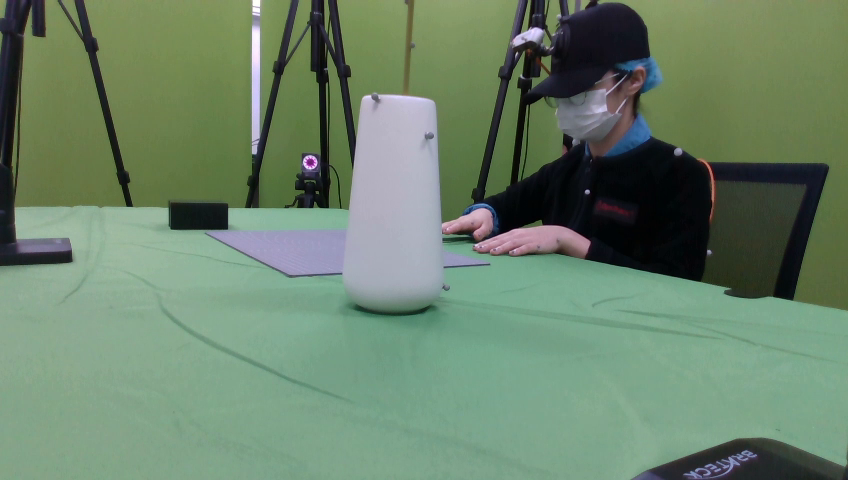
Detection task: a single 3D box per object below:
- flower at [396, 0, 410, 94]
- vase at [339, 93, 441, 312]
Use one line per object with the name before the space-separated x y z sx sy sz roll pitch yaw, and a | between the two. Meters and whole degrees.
flower | -0.023 -0.113 0.546 0.044 0.361 0.038 7 25 2
vase | -0.032 -0.035 0.577 0.098 0.200 0.098 1 7 0
